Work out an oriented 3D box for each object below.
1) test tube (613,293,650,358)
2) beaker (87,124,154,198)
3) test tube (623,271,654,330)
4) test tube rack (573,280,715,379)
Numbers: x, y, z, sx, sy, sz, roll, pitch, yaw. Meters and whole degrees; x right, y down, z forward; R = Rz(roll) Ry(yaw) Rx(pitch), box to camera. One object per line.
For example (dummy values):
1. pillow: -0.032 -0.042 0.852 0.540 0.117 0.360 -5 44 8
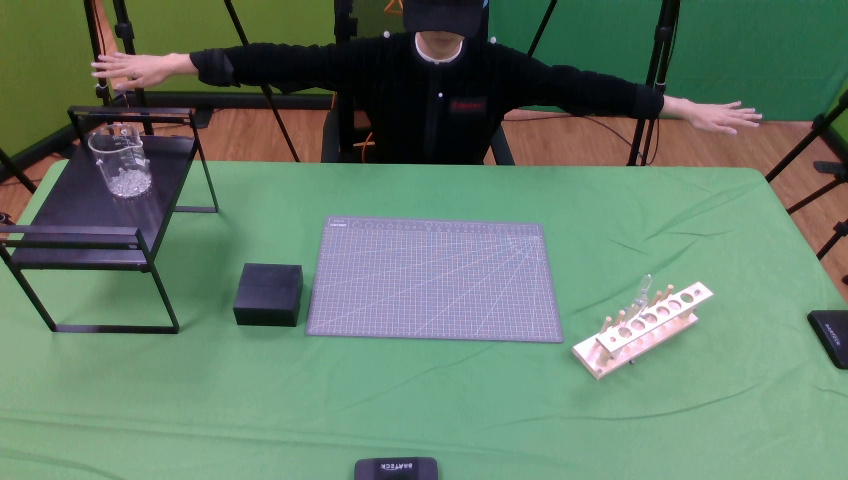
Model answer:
1. test tube: 0.329 0.139 0.966 0.017 0.151 0.017 4 43 -3
2. beaker: -0.482 -0.124 0.978 0.084 0.101 0.073 9 46 4
3. test tube: 0.356 0.104 1.010 0.017 0.151 0.017 1 46 -1
4. test tube rack: 0.378 0.140 1.038 0.242 0.085 0.066 -22 51 -23
